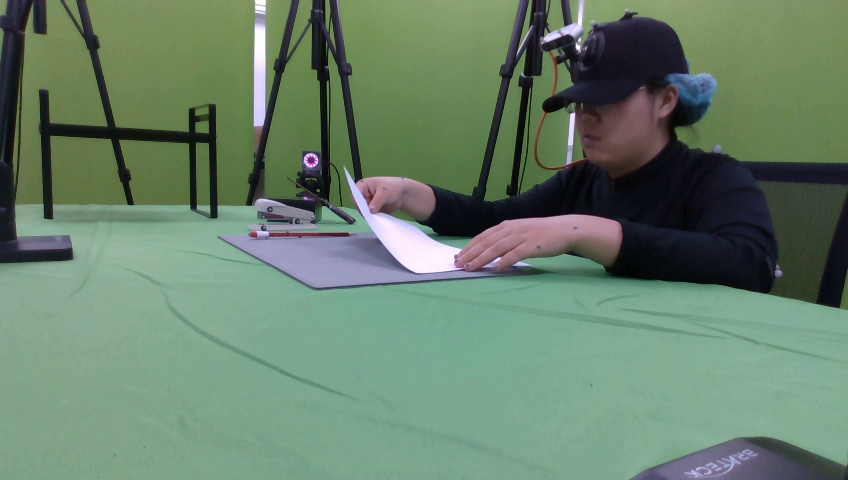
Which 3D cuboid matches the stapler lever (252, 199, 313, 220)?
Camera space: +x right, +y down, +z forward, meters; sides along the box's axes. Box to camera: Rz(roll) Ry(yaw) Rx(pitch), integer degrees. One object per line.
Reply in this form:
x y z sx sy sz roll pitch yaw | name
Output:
-0.273 -0.058 1.170 0.119 0.040 0.026 0 10 -37 | stapler lever

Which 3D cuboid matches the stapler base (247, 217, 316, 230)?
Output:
-0.276 -0.033 1.172 0.131 0.024 0.041 0 10 -37 | stapler base

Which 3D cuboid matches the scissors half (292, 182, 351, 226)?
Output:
-0.232 -0.085 1.317 0.175 0.013 0.040 38 20 4 | scissors half

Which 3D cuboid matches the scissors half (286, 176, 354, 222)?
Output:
-0.229 -0.091 1.337 0.175 0.013 0.040 33 15 -13 | scissors half

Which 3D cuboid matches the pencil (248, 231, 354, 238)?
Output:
-0.206 -0.008 1.040 0.195 0.012 0.012 0 8 -36 | pencil
